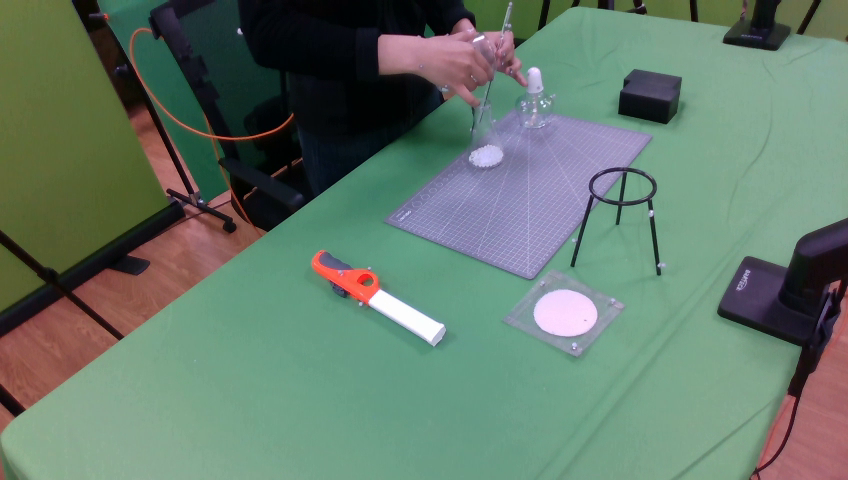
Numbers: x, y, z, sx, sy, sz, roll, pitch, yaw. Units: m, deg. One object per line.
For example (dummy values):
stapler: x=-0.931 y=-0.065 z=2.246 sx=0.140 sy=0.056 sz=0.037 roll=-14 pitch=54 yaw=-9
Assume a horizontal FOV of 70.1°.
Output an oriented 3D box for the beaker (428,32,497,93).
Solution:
beaker: x=0.065 y=-0.298 z=1.031 sx=0.100 sy=0.084 sz=0.073 roll=-22 pitch=39 yaw=-5

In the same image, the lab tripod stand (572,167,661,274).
lab tripod stand: x=0.284 y=-0.030 z=0.879 sx=0.148 sy=0.132 sz=0.147 roll=-7 pitch=38 yaw=6

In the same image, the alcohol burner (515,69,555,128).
alcohol burner: x=0.221 y=-0.285 z=1.203 sx=0.078 sy=0.119 sz=0.077 roll=-4 pitch=39 yaw=4

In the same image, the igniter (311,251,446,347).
igniter: x=-0.078 y=0.081 z=0.899 sx=0.274 sy=0.025 sz=0.057 roll=27 pitch=62 yaw=35

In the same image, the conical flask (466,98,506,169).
conical flask: x=0.111 y=-0.199 z=1.116 sx=0.075 sy=0.122 sz=0.075 roll=-5 pitch=40 yaw=5

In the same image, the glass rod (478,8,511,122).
glass rod: x=0.123 y=-0.303 z=1.058 sx=0.008 sy=0.200 sz=0.008 roll=12 pitch=22 yaw=-5

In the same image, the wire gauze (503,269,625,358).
wire gauze: x=0.194 y=0.100 z=0.840 sx=0.120 sy=0.011 sz=0.125 roll=27 pitch=54 yaw=36

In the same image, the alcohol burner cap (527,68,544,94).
alcohol burner cap: x=0.216 y=-0.312 z=1.179 sx=0.034 sy=0.048 sz=0.033 roll=-9 pitch=40 yaw=8
